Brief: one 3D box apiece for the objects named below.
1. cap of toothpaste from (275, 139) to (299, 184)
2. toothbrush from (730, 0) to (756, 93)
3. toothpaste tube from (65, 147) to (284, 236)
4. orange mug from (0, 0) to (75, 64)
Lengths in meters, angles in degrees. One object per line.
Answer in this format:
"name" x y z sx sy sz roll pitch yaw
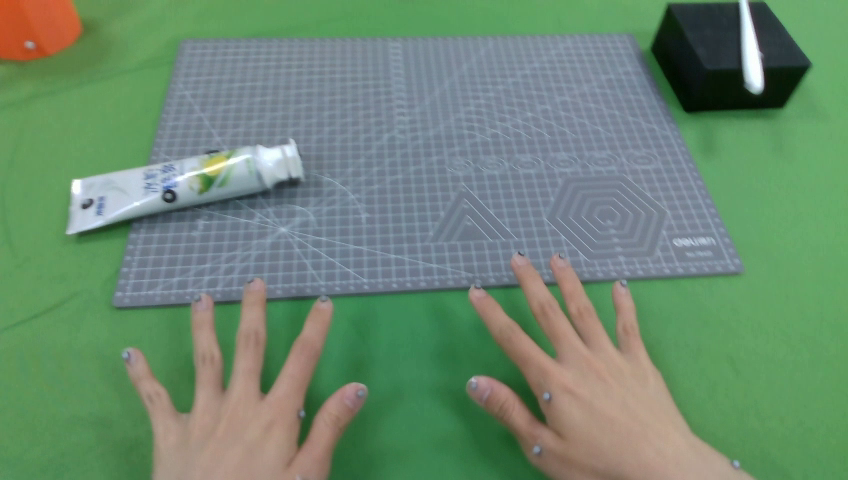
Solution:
"cap of toothpaste" -0.106 -0.060 0.468 0.011 0.037 0.037 -18 56 -17
"toothbrush" 0.287 -0.195 0.549 0.014 0.017 0.180 13 54 4
"toothpaste tube" -0.185 -0.043 0.459 0.165 0.035 0.054 -13 50 -8
"orange mug" -0.389 -0.214 0.532 0.083 0.101 0.126 31 53 19
